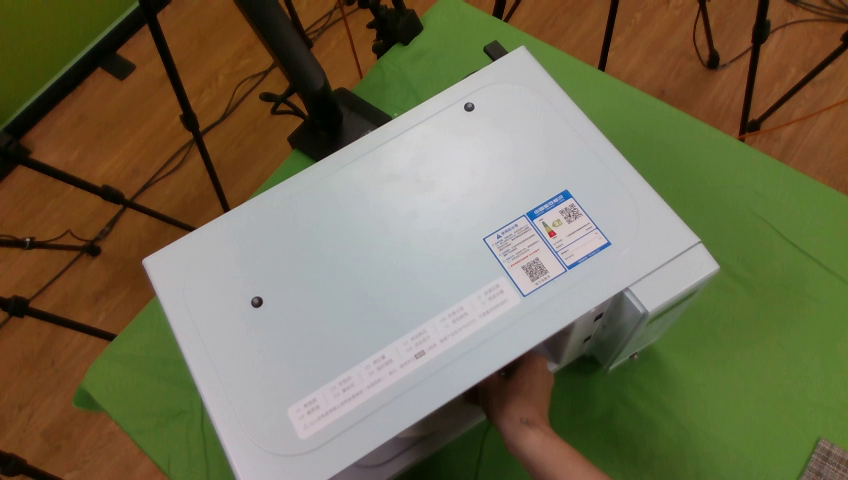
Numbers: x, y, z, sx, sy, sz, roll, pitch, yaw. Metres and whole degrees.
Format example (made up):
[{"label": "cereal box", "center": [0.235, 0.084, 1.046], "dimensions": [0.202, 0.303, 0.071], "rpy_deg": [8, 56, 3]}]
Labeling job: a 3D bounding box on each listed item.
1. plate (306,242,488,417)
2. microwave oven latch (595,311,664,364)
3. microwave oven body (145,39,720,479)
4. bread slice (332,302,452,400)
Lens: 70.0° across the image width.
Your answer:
[{"label": "plate", "center": [-0.030, 0.103, 0.706], "dimensions": [0.208, 0.039, 0.206], "rpy_deg": [0, 65, 1]}, {"label": "microwave oven latch", "center": [0.241, 0.114, 0.712], "dimensions": [0.079, 0.030, 0.030], "rpy_deg": [-30, 67, -6]}, {"label": "microwave oven body", "center": [0.003, 0.054, 0.660], "dimensions": [0.442, 0.262, 0.323], "rpy_deg": [-32, 67, -6]}, {"label": "bread slice", "center": [-0.038, 0.127, 0.705], "dimensions": [0.134, 0.018, 0.106], "rpy_deg": [7, 64, -2]}]
